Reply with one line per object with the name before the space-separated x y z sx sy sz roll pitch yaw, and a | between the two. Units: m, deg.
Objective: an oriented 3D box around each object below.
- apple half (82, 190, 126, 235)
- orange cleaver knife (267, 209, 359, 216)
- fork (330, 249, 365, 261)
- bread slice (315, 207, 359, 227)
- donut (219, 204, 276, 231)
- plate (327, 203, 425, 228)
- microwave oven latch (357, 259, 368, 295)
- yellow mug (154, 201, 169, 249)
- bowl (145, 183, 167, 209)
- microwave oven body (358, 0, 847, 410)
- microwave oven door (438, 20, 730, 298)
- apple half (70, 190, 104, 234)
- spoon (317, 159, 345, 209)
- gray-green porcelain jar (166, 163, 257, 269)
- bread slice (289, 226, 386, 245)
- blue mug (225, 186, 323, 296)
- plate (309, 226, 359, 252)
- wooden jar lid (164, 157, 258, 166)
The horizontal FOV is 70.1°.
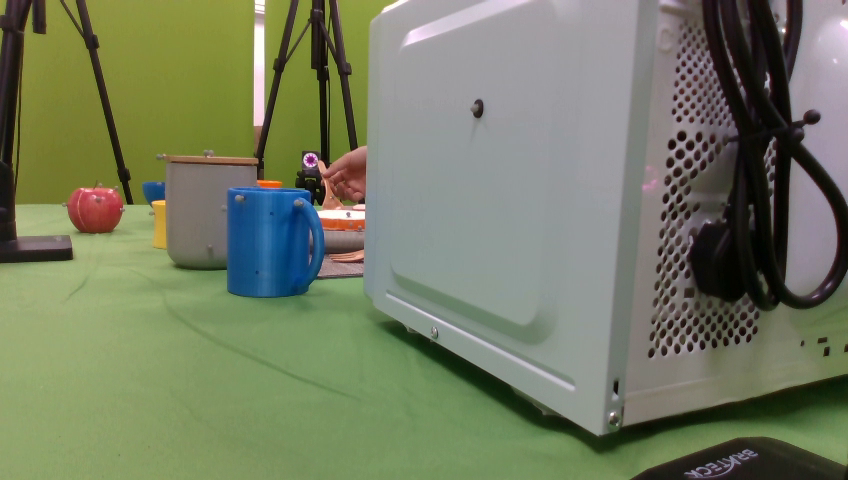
apple half | -0.517 -0.046 0.994 0.032 0.081 0.081 0 6 26
orange cleaver knife | -0.259 -0.064 1.423 0.212 0.012 0.077 -4 3 -30
fork | -0.028 -0.006 0.828 0.208 0.018 0.028 -21 24 -15
bread slice | -0.127 -0.035 0.933 0.134 0.018 0.107 4 11 27
donut | -0.316 -0.039 1.083 0.099 0.048 0.099 2 7 0
plate | -0.102 -0.053 1.299 0.209 0.038 0.209 2 8 0
microwave oven latch | -0.019 0.031 0.529 0.079 0.029 0.030 -1 7 -26
yellow mug | -0.338 -0.022 0.899 0.130 0.064 0.100 8 9 34
bowl | -0.459 -0.068 1.175 0.151 0.077 0.151 3 7 0
microwave oven body | 0.210 -0.051 0.471 0.444 0.260 0.324 -1 7 -28
microwave oven door | 0.181 -0.076 0.618 0.358 0.243 0.039 -2 8 -28
apple half | -0.552 -0.047 1.010 0.053 0.074 0.081 0 9 26
spoon | -0.178 -0.103 1.121 0.042 0.021 0.193 -9 42 -12
gray-green porcelain jar | -0.263 -0.031 0.754 0.106 0.126 0.106 2 7 0
bread slice | -0.125 -0.008 0.938 0.131 0.019 0.105 5 7 31
blue mug | -0.148 0.000 0.618 0.116 0.106 0.083 7 9 33
plate | -0.130 -0.011 0.945 0.208 0.039 0.207 2 7 0
wooden jar lid | -0.261 -0.093 0.746 0.108 0.020 0.108 0 9 0
